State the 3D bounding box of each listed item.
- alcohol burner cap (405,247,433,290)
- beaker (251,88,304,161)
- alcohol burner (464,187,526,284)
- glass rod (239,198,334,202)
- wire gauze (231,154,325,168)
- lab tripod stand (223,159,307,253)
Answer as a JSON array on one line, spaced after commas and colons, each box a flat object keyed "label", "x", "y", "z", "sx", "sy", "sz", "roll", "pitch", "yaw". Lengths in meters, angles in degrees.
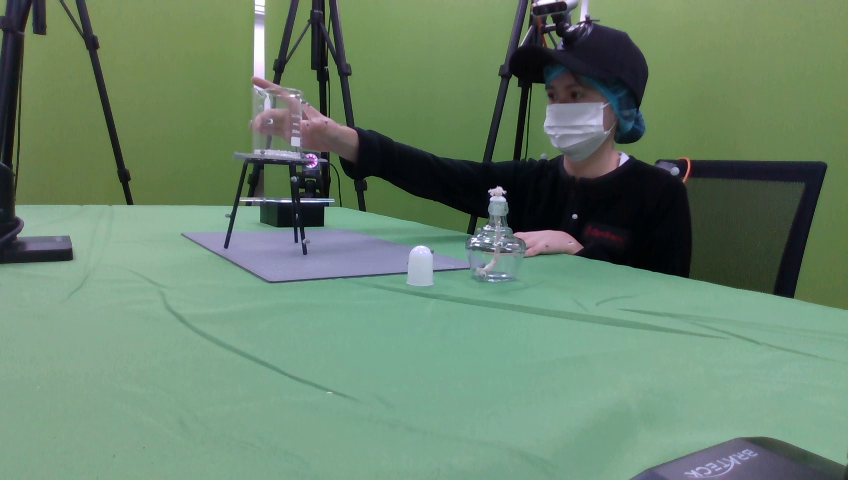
[{"label": "alcohol burner cap", "x": -0.005, "y": 0.031, "z": 0.698, "sx": 0.034, "sy": 0.048, "sz": 0.034, "roll": 3, "pitch": 8, "yaw": 0}, {"label": "beaker", "x": -0.214, "y": -0.165, "z": 0.874, "sx": 0.074, "sy": 0.100, "sz": 0.084, "roll": 3, "pitch": 6, "yaw": 15}, {"label": "alcohol burner", "x": 0.089, "y": -0.007, "z": 0.747, "sx": 0.078, "sy": 0.119, "sz": 0.078, "roll": 4, "pitch": 9, "yaw": 0}, {"label": "glass rod", "x": -0.277, "y": -0.081, "z": 1.232, "sx": 0.201, "sy": 0.008, "sz": 0.008, "roll": -1, "pitch": 8, "yaw": -30}, {"label": "wire gauze", "x": -0.215, "y": -0.117, "z": 0.881, "sx": 0.125, "sy": 0.011, "sz": 0.121, "roll": 3, "pitch": 7, "yaw": -19}, {"label": "lab tripod stand", "x": -0.220, "y": -0.053, "z": 0.896, "sx": 0.148, "sy": 0.131, "sz": 0.148, "roll": 1, "pitch": 6, "yaw": 0}]
